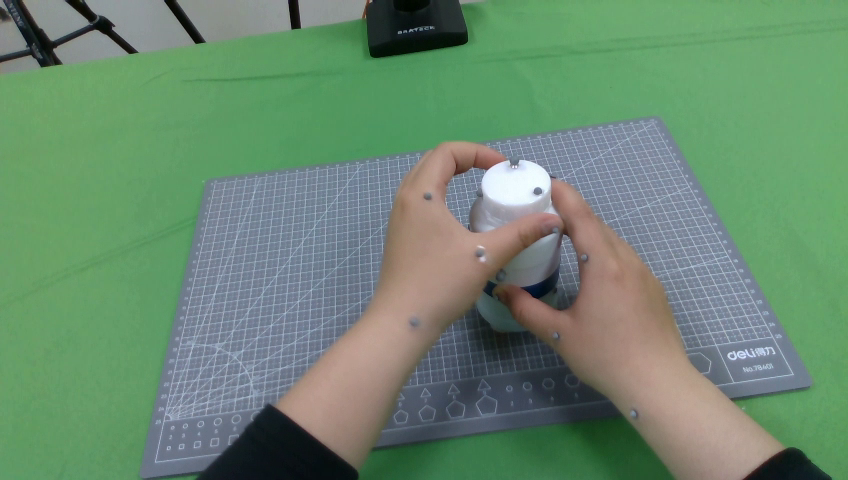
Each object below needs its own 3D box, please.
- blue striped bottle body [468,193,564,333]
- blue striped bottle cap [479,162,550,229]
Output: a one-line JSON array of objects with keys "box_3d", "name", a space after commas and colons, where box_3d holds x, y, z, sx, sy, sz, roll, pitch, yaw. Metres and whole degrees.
[{"box_3d": [0.064, 0.007, 0.421, 0.063, 0.122, 0.062, -4, 47, 5], "name": "blue striped bottle body"}, {"box_3d": [0.057, -0.029, 0.381, 0.044, 0.021, 0.044, -3, 46, 3], "name": "blue striped bottle cap"}]
